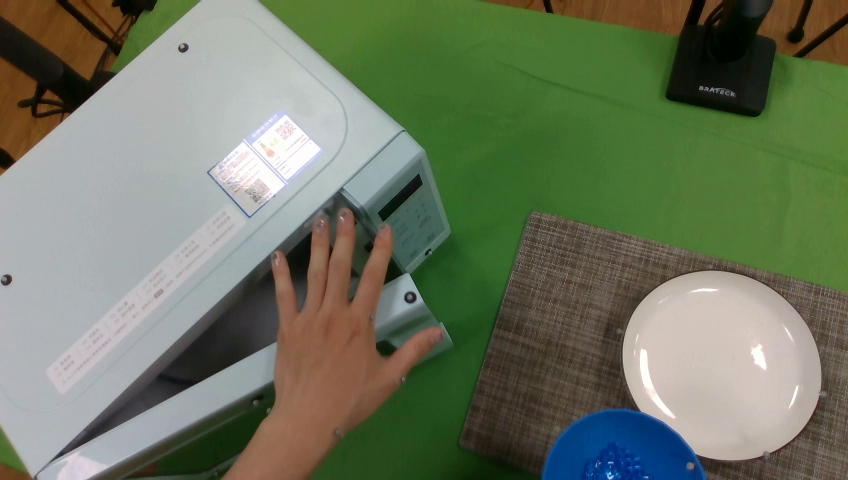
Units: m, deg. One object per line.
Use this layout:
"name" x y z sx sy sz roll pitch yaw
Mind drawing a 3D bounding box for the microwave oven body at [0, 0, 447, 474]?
"microwave oven body" -0.245 -0.005 0.682 0.441 0.262 0.324 -45 72 -6

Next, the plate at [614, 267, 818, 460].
"plate" 0.317 0.135 0.673 0.207 0.039 0.206 -2 72 8

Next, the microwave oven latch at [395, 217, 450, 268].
"microwave oven latch" -0.003 -0.003 0.748 0.079 0.030 0.030 -43 72 -5

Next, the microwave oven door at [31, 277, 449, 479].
"microwave oven door" -0.149 0.154 0.612 0.356 0.245 0.039 -28 70 -1

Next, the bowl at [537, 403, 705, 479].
"bowl" 0.179 0.235 0.579 0.151 0.077 0.150 -1 72 3
